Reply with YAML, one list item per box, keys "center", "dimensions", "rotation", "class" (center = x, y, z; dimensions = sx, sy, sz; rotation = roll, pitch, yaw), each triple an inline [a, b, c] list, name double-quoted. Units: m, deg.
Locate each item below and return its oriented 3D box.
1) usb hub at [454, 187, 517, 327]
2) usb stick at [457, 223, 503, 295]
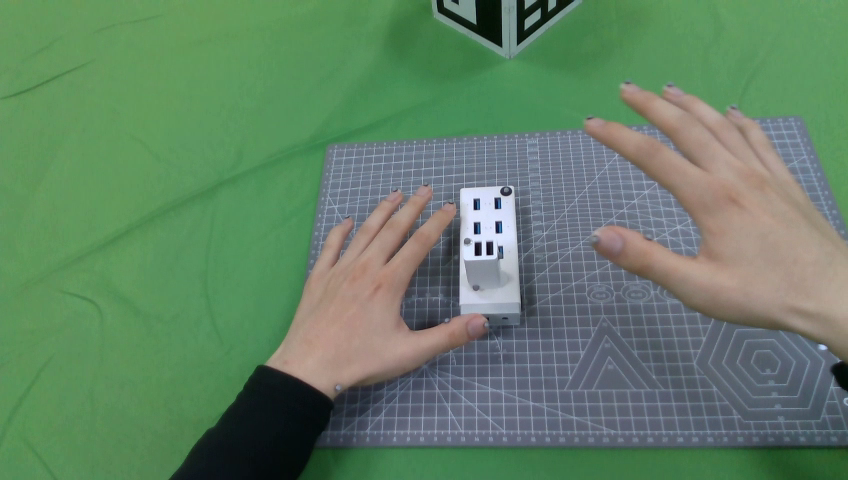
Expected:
- center: [0.051, 0.011, 0.505]
  dimensions: [0.049, 0.025, 0.124]
  rotation: [-1, 57, 6]
  class: "usb hub"
- center: [0.042, 0.013, 0.453]
  dimensions: [0.027, 0.060, 0.021]
  rotation: [-24, 47, -11]
  class: "usb stick"
